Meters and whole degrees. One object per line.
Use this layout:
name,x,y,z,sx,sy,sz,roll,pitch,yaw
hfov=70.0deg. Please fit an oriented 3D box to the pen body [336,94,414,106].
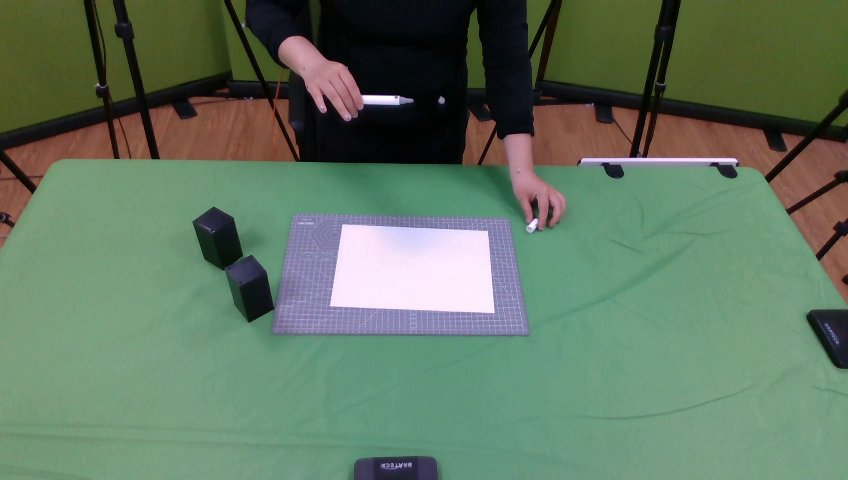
pen body,-0.089,-0.256,1.108,0.144,0.017,0.017,-2,45,5

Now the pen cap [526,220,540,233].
pen cap,0.225,-0.028,1.247,0.017,0.017,0.038,32,38,24
